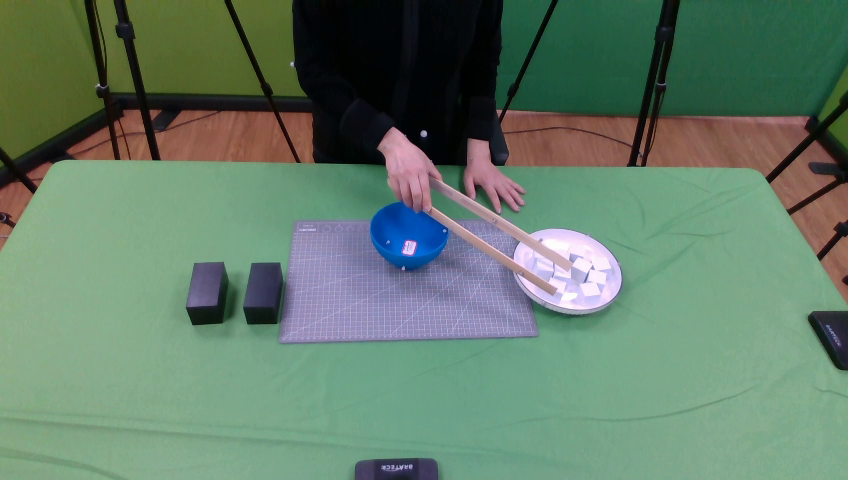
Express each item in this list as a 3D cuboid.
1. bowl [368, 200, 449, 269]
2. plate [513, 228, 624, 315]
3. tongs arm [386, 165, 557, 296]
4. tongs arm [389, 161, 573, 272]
[{"bbox_3d":[-0.030,0.002,1.151,0.151,0.077,0.150,2,46,-2],"label":"bowl"},{"bbox_3d":[0.268,0.063,1.146,0.208,0.039,0.206,3,46,-3],"label":"plate"},{"bbox_3d":[0.076,-0.019,1.102,0.386,0.028,0.028,36,56,14],"label":"tongs arm"},{"bbox_3d":[0.099,-0.043,1.128,0.384,0.026,0.050,35,52,13],"label":"tongs arm"}]
